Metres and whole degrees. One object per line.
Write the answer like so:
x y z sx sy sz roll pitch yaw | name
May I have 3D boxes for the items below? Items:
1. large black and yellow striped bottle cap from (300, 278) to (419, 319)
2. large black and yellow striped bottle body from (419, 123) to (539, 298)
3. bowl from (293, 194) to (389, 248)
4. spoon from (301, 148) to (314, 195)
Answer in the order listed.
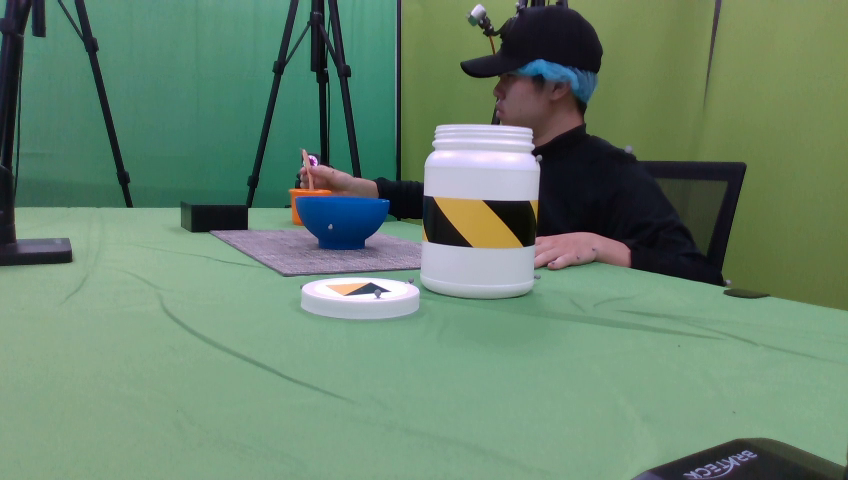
-0.062 0.055 0.588 0.115 0.019 0.115 1 6 0 | large black and yellow striped bottle cap
0.062 -0.036 0.683 0.131 0.184 0.130 2 7 0 | large black and yellow striped bottle body
-0.132 -0.030 0.962 0.151 0.077 0.151 2 7 0 | bowl
-0.255 -0.133 1.342 0.042 0.193 0.021 14 -38 -38 | spoon
